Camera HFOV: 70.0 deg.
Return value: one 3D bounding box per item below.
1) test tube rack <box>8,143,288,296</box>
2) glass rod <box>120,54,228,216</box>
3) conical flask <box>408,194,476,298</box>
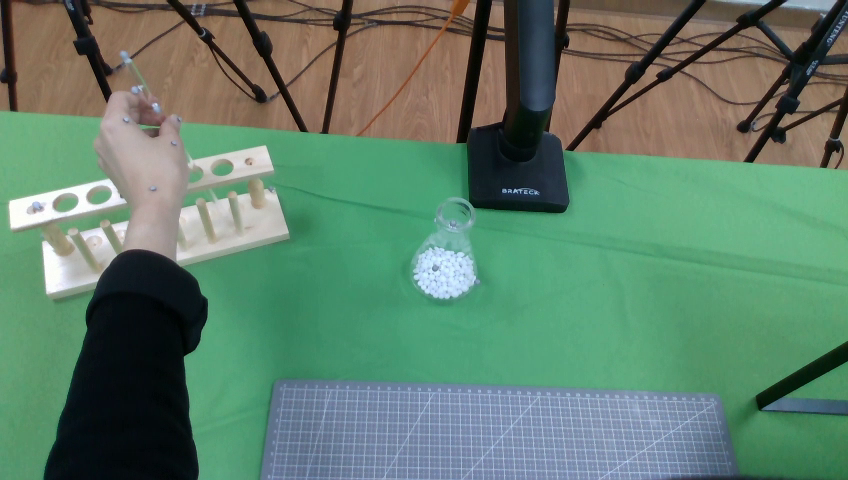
[{"bbox_3d":[-0.272,-0.022,0.623,0.243,0.086,0.066,-15,61,-15],"label":"test tube rack"},{"bbox_3d":[-0.233,-0.090,0.580,0.008,0.202,0.008,-7,49,8],"label":"glass rod"},{"bbox_3d":[0.024,0.002,0.620,0.075,0.123,0.074,3,58,-4],"label":"conical flask"}]
